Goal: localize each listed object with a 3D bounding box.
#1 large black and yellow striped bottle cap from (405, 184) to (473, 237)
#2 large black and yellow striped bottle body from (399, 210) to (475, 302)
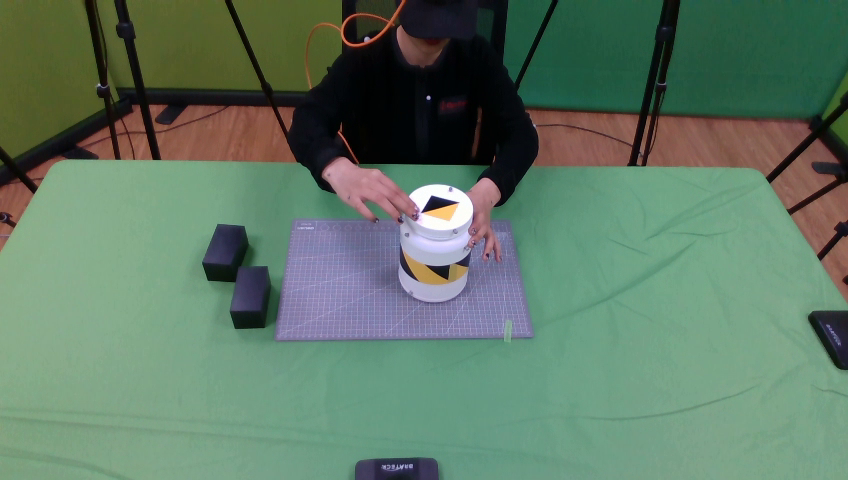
[{"bbox_3d":[0.026,-0.051,1.015,0.115,0.019,0.114,2,47,-2],"label":"large black and yellow striped bottle cap"},{"bbox_3d":[0.021,0.007,1.075,0.131,0.185,0.130,2,46,-2],"label":"large black and yellow striped bottle body"}]
